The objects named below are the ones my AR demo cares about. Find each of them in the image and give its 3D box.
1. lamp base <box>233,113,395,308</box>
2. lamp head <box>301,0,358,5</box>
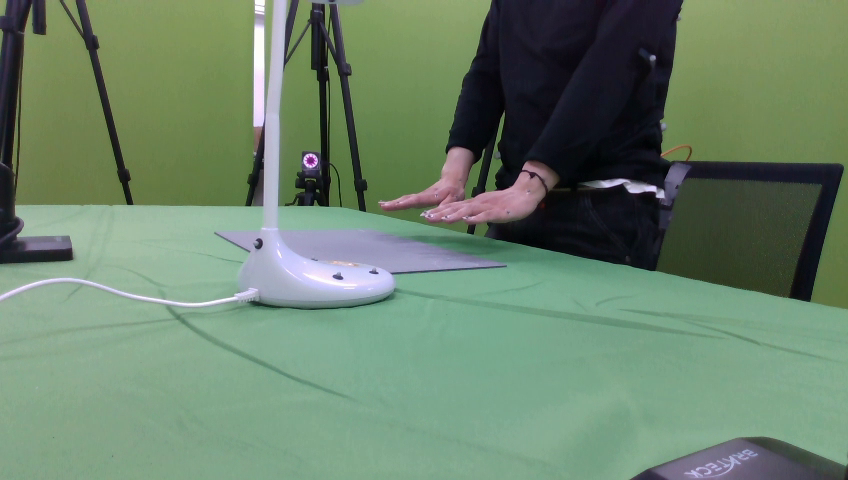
[{"bbox_3d":[-0.113,-0.033,0.600,0.160,0.180,0.180,6,11,28],"label":"lamp base"},{"bbox_3d":[-0.095,-0.314,0.610,0.112,0.123,0.112,-4,50,5],"label":"lamp head"}]
